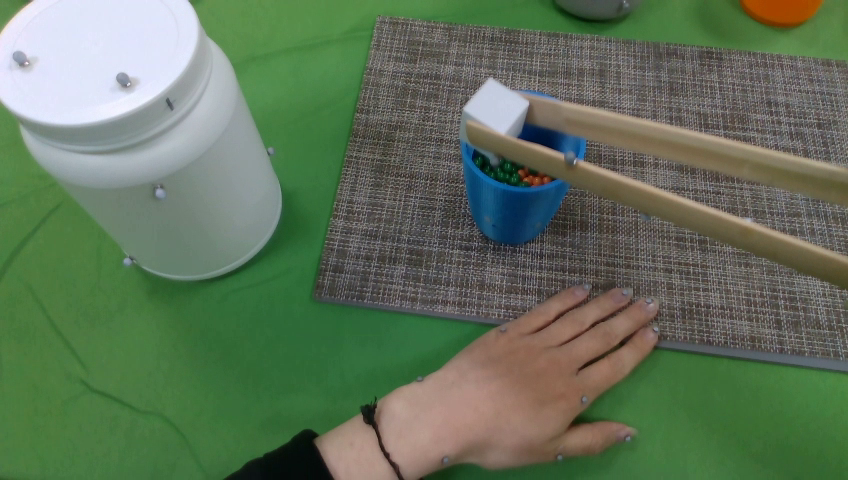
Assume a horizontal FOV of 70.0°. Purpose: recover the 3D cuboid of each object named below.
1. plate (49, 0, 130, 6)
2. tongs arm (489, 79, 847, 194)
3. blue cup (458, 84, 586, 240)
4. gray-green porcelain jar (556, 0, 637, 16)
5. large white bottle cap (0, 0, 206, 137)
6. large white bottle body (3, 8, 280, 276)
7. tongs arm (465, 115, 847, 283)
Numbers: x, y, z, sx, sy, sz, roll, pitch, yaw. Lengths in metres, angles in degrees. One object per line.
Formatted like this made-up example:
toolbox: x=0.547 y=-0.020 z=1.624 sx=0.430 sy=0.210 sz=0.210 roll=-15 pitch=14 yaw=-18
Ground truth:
plate: x=-0.323 y=-0.311 z=0.621 sx=0.208 sy=0.039 sz=0.206 roll=0 pitch=63 yaw=0
tongs arm: x=0.203 y=-0.027 z=0.306 sx=0.385 sy=0.028 sz=0.028 roll=22 pitch=63 yaw=25
blue cup: x=0.068 y=-0.049 z=0.450 sx=0.092 sy=0.101 sz=0.092 roll=-1 pitch=63 yaw=2
gray-green porcelain jar: x=0.169 y=-0.284 z=0.560 sx=0.106 sy=0.127 sz=0.105 roll=0 pitch=63 yaw=1
large white bottle cap: x=-0.183 y=-0.108 z=0.341 sx=0.115 sy=0.018 sz=0.114 roll=0 pitch=63 yaw=0
large white bottle body: x=-0.182 y=-0.068 z=0.416 sx=0.130 sy=0.186 sz=0.129 roll=0 pitch=63 yaw=0
tongs arm: x=0.191 y=-0.010 z=0.298 sx=0.381 sy=0.027 sz=0.050 roll=27 pitch=69 yaw=27
